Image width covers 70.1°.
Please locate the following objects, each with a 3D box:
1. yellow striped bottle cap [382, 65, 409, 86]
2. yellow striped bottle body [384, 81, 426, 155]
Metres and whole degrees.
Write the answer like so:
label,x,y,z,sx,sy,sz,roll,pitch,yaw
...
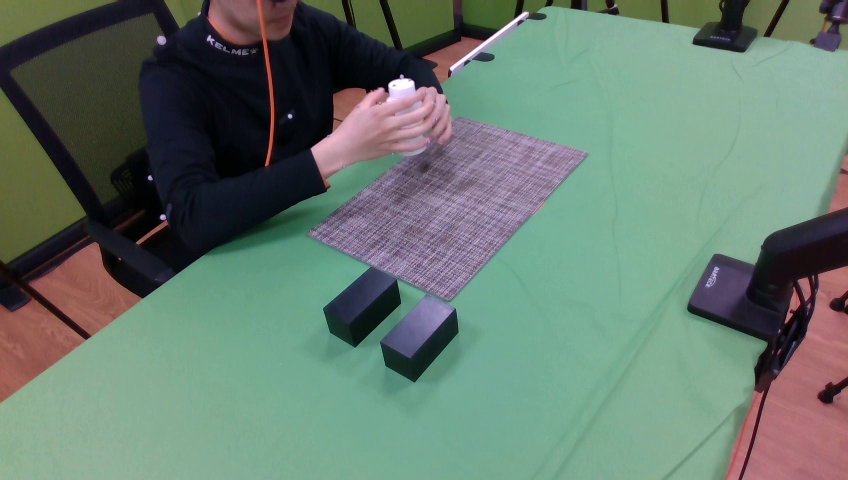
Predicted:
label,x,y,z,sx,sy,sz,roll,pitch,yaw
yellow striped bottle cap,-0.048,-0.277,1.015,0.044,0.019,0.044,-8,41,8
yellow striped bottle body,-0.034,-0.216,1.059,0.063,0.121,0.062,-5,39,4
